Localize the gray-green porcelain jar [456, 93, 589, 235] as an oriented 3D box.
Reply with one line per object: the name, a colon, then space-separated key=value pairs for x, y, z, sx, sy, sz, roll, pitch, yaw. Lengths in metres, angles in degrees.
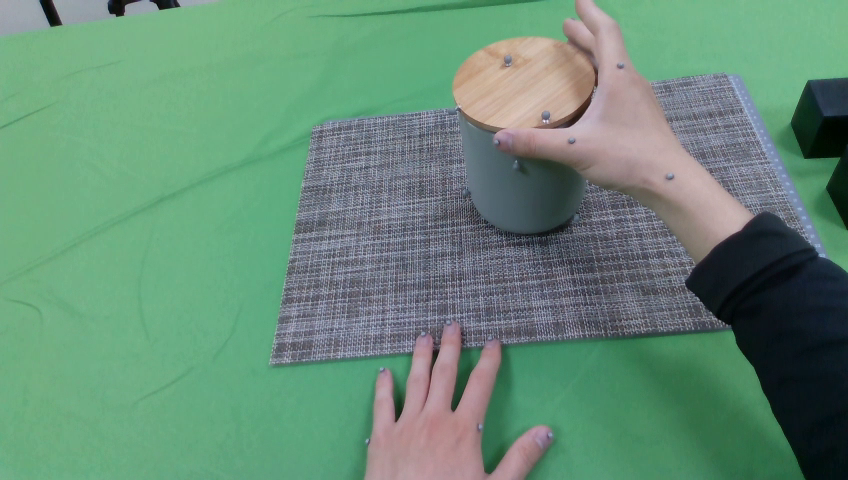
gray-green porcelain jar: x=0.085 y=-0.075 z=0.520 sx=0.106 sy=0.128 sz=0.105 roll=-5 pitch=51 yaw=7

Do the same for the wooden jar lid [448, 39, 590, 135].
wooden jar lid: x=0.073 y=-0.116 z=0.471 sx=0.108 sy=0.021 sz=0.107 roll=-5 pitch=54 yaw=7
